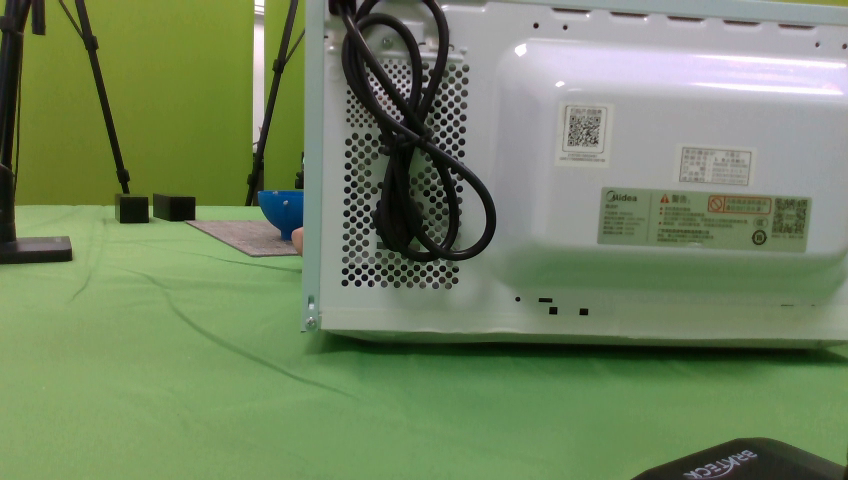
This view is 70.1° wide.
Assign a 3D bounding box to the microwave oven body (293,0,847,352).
[{"bbox_3d":[0.122,-0.055,0.550,0.442,0.260,0.325,3,7,-5],"label":"microwave oven body"}]

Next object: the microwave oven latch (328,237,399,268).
[{"bbox_3d":[-0.069,0.015,0.694,0.079,0.029,0.030,3,7,-3],"label":"microwave oven latch"}]

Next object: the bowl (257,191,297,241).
[{"bbox_3d":[-0.206,-0.041,1.026,0.151,0.077,0.151,2,8,0],"label":"bowl"}]

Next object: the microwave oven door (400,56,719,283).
[{"bbox_3d":[0.155,-0.077,0.697,0.356,0.243,0.039,2,8,-5],"label":"microwave oven door"}]
